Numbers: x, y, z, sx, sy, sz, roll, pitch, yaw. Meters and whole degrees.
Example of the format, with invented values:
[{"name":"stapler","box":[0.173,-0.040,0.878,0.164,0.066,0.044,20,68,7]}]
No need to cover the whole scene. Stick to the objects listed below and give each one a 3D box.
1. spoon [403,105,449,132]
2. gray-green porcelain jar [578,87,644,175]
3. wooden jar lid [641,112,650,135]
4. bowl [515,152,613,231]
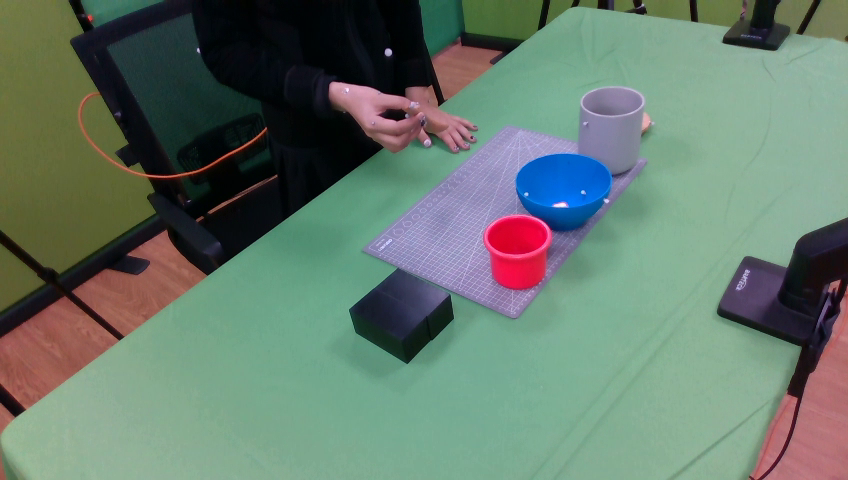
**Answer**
[{"name":"spoon","box":[0.000,-0.194,0.963,0.041,0.021,0.195,-6,-4,18]},{"name":"gray-green porcelain jar","box":[0.324,-0.185,1.055,0.106,0.127,0.105,-5,40,5]},{"name":"wooden jar lid","box":[0.382,-0.225,1.178,0.108,0.021,0.108,-5,40,4]},{"name":"bowl","box":[0.224,-0.068,0.972,0.151,0.077,0.150,-5,40,5]}]
